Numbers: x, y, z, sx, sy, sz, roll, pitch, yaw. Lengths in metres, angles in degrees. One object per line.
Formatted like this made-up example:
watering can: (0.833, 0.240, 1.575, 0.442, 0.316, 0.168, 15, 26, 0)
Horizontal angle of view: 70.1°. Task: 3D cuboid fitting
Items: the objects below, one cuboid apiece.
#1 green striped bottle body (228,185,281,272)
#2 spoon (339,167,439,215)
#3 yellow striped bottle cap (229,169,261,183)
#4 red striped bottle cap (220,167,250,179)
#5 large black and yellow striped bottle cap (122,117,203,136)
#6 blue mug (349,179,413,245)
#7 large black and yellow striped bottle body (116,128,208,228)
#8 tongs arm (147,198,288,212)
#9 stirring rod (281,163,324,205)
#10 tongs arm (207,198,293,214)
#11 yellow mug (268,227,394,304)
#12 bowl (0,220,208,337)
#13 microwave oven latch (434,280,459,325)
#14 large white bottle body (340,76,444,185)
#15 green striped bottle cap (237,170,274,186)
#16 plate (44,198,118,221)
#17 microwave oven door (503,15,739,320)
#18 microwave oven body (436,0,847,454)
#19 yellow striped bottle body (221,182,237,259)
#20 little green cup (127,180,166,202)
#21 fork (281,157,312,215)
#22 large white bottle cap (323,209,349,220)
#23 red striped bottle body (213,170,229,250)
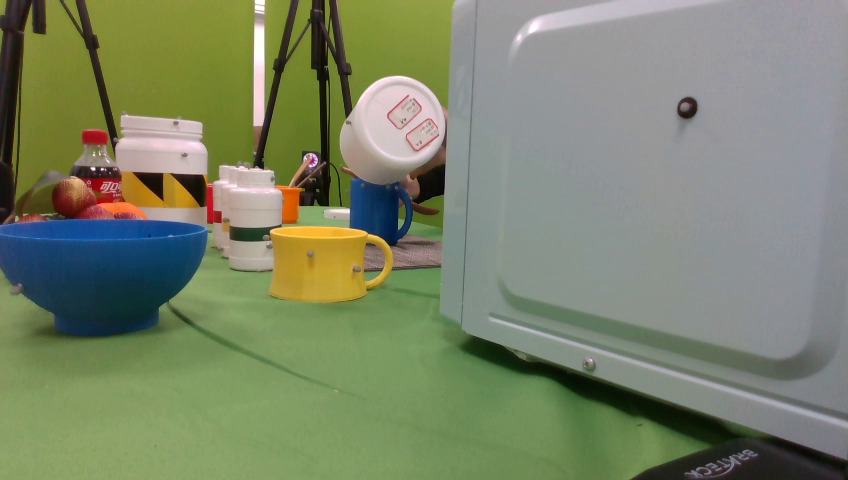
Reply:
green striped bottle body: (-0.208, -0.024, 0.745, 0.063, 0.119, 0.063, 2, 7, 0)
spoon: (-0.062, -0.088, 1.066, 0.193, 0.021, 0.041, 28, -7, 4)
yellow striped bottle cap: (-0.241, -0.086, 0.816, 0.044, 0.018, 0.044, 0, 6, 0)
red striped bottle cap: (-0.281, -0.100, 0.901, 0.044, 0.017, 0.044, -1, 5, 0)
large black and yellow striped bottle cap: (-0.399, -0.174, 0.927, 0.115, 0.019, 0.115, 5, 9, -1)
blue mug: (-0.069, -0.047, 1.001, 0.116, 0.106, 0.083, 6, 9, 28)
large black and yellow striped bottle body: (-0.404, -0.089, 0.937, 0.131, 0.184, 0.130, 3, 7, 0)
tongs arm: (-0.503, -0.090, 1.513, 0.028, 0.028, 0.389, -1, 3, 38)
stirring rod: (-0.278, -0.105, 1.293, 0.176, 0.006, 0.014, -47, 25, -18)
tongs arm: (-0.423, -0.084, 1.473, 0.050, 0.026, 0.386, 1, 6, 22)
yellow mug: (-0.094, 0.023, 0.629, 0.131, 0.064, 0.099, 0, 7, -22)
bowl: (-0.251, 0.029, 0.479, 0.151, 0.077, 0.151, 2, 7, 0)
microwave oven latch: (0.044, 0.045, 0.470, 0.079, 0.029, 0.030, -2, 8, -39)
large white bottle body: (-0.055, -0.155, 0.908, 0.131, 0.130, 0.184, 0, -5, -16)
green striped bottle cap: (-0.205, -0.075, 0.737, 0.044, 0.020, 0.044, 1, 6, 0)
plate: (-0.617, -0.056, 1.179, 0.209, 0.038, 0.209, 3, 7, 0)
microwave oven door: (0.218, -0.065, 0.600, 0.358, 0.243, 0.039, -4, 10, -41)
microwave oven body: (0.279, -0.040, 0.464, 0.444, 0.260, 0.324, -3, 9, -41)
yellow striped bottle body: (-0.243, -0.035, 0.823, 0.063, 0.120, 0.063, 2, 8, 0)
little green cup: (-0.485, -0.087, 1.062, 0.061, 0.038, 0.061, 0, 7, 0)
fork: (-0.290, -0.116, 1.321, 0.028, 0.019, 0.207, 7, 52, 18)
large white bottle cap: (-0.184, -0.062, 1.449, 0.115, 0.018, 0.115, 2, 8, 0)
red striped bottle body: (-0.283, -0.047, 0.909, 0.063, 0.119, 0.063, 3, 14, 0)
